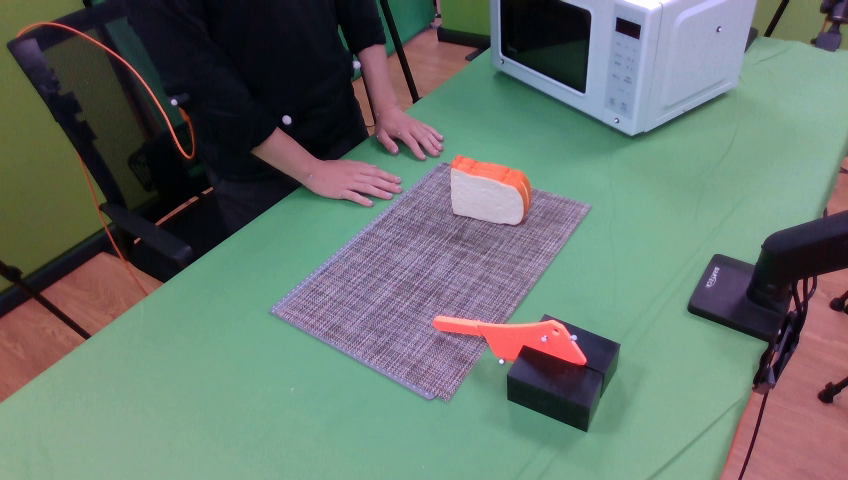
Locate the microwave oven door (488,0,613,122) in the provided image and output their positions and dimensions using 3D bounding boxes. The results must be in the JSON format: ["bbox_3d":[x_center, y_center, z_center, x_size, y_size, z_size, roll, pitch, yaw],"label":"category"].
[{"bbox_3d":[0.250,-0.412,1.219,0.039,0.245,0.352,-27,44,-21],"label":"microwave oven door"}]

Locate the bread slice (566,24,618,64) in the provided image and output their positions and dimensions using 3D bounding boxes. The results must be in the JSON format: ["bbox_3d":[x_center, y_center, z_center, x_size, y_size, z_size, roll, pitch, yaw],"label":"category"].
[{"bbox_3d":[0.362,-0.428,1.323,0.107,0.018,0.134,1,51,8],"label":"bread slice"}]

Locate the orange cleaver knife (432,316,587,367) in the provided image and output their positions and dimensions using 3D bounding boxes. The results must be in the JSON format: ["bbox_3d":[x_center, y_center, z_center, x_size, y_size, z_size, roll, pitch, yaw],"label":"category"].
[{"bbox_3d":[0.101,0.127,0.761,0.210,0.077,0.012,-1,34,40],"label":"orange cleaver knife"}]

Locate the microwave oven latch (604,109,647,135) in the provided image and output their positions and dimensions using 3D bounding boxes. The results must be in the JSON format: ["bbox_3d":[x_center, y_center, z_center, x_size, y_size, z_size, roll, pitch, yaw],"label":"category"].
[{"bbox_3d":[0.378,-0.225,1.139,0.030,0.029,0.078,-26,43,-20],"label":"microwave oven latch"}]

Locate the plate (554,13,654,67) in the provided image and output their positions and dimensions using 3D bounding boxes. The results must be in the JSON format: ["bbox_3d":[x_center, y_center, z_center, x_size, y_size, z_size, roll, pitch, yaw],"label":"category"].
[{"bbox_3d":[0.386,-0.428,1.309,0.207,0.039,0.206,-4,44,4],"label":"plate"}]

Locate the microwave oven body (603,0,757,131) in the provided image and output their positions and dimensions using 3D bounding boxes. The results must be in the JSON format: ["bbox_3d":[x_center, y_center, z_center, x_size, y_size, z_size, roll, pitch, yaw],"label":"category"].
[{"bbox_3d":[0.396,-0.448,1.248,0.327,0.261,0.437,-27,44,-21],"label":"microwave oven body"}]
